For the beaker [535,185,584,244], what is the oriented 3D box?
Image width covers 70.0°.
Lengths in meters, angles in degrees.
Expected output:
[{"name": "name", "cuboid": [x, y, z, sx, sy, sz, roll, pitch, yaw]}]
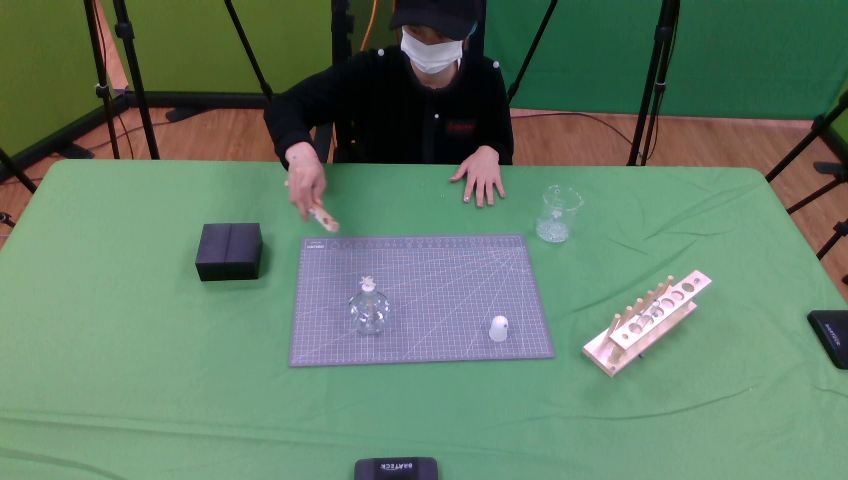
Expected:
[{"name": "beaker", "cuboid": [0.268, -0.048, 1.213, 0.084, 0.101, 0.073, 6, 46, 0]}]

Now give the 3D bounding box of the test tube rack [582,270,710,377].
[{"name": "test tube rack", "cuboid": [0.389, 0.132, 1.057, 0.242, 0.085, 0.066, -28, 54, -28]}]

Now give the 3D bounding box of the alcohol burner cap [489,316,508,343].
[{"name": "alcohol burner cap", "cuboid": [0.130, 0.151, 1.045, 0.034, 0.048, 0.033, 2, 46, -2]}]

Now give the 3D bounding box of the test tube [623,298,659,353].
[{"name": "test tube", "cuboid": [0.344, 0.140, 0.976, 0.017, 0.151, 0.017, 3, 50, -3]}]

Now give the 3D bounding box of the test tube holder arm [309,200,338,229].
[{"name": "test tube holder arm", "cuboid": [-0.171, -0.043, 1.020, 0.015, 0.010, 0.087, 25, 10, -47]}]

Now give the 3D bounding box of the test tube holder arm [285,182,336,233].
[{"name": "test tube holder arm", "cuboid": [-0.200, -0.060, 1.051, 0.015, 0.013, 0.177, 25, 10, -47]}]

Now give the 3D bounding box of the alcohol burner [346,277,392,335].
[{"name": "alcohol burner", "cuboid": [-0.093, 0.106, 1.021, 0.078, 0.120, 0.077, 1, 46, -1]}]
